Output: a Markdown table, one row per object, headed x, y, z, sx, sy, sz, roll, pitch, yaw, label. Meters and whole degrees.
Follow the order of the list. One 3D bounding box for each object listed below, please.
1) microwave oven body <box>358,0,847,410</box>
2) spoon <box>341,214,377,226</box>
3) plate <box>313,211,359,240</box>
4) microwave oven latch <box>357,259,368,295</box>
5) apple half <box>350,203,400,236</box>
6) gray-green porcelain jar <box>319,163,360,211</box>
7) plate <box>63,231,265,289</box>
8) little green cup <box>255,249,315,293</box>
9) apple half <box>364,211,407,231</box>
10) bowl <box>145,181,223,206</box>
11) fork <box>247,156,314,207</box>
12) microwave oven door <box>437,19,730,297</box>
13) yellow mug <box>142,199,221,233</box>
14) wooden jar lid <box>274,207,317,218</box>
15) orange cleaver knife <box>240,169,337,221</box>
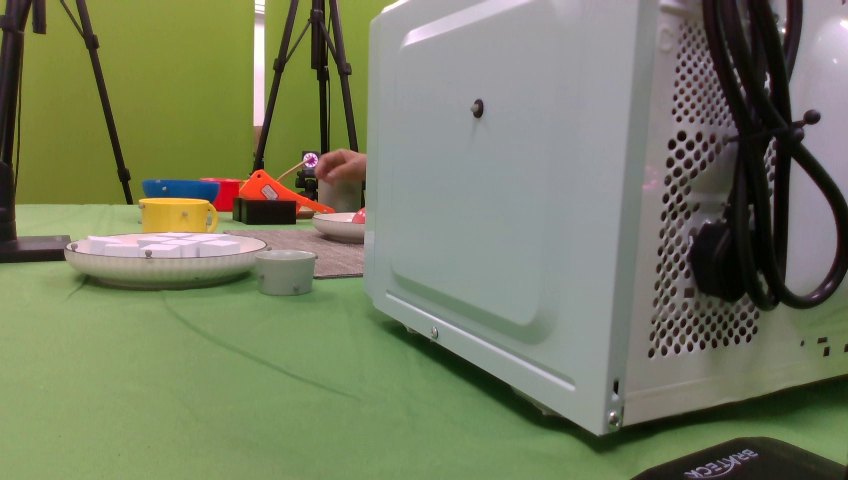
| x | y | z | sx | sy | sz | roll | pitch | yaw | label |
| --- | --- | --- | --- | --- | --- | --- | --- | --- | --- |
| 0.210 | -0.051 | 0.471 | 0.444 | 0.260 | 0.324 | -1 | 7 | -28 | microwave oven body |
| -0.132 | -0.048 | 1.305 | 0.041 | 0.021 | 0.194 | -15 | 4 | 14 | spoon |
| -0.091 | -0.026 | 1.063 | 0.209 | 0.038 | 0.209 | 2 | 7 | 0 | plate |
| -0.019 | 0.031 | 0.529 | 0.079 | 0.029 | 0.030 | -1 | 7 | -26 | microwave oven latch |
| -0.081 | -0.036 | 1.024 | 0.081 | 0.053 | 0.074 | -2 | 11 | -34 | apple half |
| -0.205 | -0.126 | 1.490 | 0.106 | 0.126 | 0.106 | 2 | 7 | 0 | gray-green porcelain jar |
| -0.288 | 0.021 | 0.687 | 0.208 | 0.039 | 0.207 | 2 | 8 | 0 | plate |
| -0.144 | 0.032 | 0.627 | 0.061 | 0.038 | 0.061 | 2 | 5 | 0 | little green cup |
| -0.068 | -0.037 | 1.103 | 0.081 | 0.033 | 0.081 | -1 | 9 | 0 | apple half |
| -0.499 | -0.081 | 1.261 | 0.151 | 0.077 | 0.151 | 2 | 8 | 0 | bowl |
| -0.360 | -0.147 | 1.523 | 0.207 | 0.018 | 0.028 | -43 | 16 | -7 | fork |
| 0.181 | -0.076 | 0.618 | 0.358 | 0.243 | 0.039 | -2 | 9 | -28 | microwave oven door |
| -0.372 | -0.030 | 0.947 | 0.099 | 0.064 | 0.131 | 6 | 7 | 30 | yellow mug |
| -0.303 | -0.065 | 1.409 | 0.108 | 0.020 | 0.108 | 3 | 8 | 0 | wooden jar lid |
| -0.287 | -0.081 | 1.298 | 0.212 | 0.077 | 0.012 | 25 | -3 | -31 | orange cleaver knife |
